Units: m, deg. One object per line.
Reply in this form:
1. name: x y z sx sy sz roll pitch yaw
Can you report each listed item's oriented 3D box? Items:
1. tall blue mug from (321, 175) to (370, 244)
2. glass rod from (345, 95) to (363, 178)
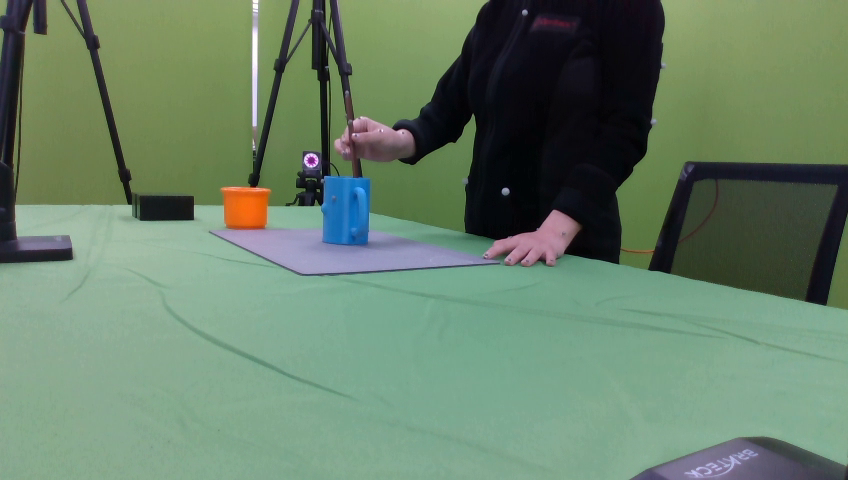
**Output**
1. tall blue mug: -0.116 -0.049 0.991 0.106 0.108 0.078 7 8 33
2. glass rod: -0.112 -0.144 0.999 0.008 0.199 0.008 -10 -6 -1
